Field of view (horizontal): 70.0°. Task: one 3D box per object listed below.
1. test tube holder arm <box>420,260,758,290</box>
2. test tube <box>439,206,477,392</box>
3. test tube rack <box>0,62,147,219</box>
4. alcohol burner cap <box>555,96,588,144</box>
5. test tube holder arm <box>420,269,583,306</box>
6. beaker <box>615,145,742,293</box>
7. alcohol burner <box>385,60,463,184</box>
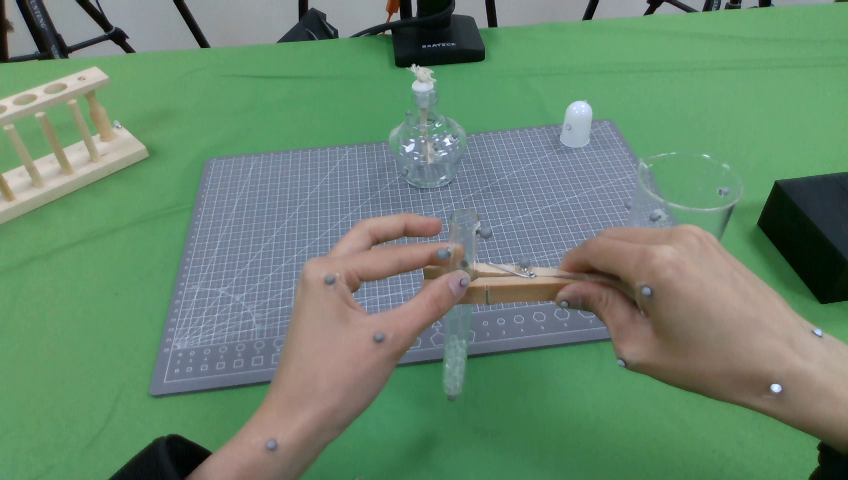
[{"bbox_3d":[0.087,0.019,0.331,0.178,0.015,0.013,0,53,6],"label":"test tube holder arm"},{"bbox_3d":[0.018,0.042,0.353,0.017,0.151,0.017,1,42,0],"label":"test tube"},{"bbox_3d":[-0.413,-0.082,0.589,0.242,0.086,0.066,-35,52,-29],"label":"test tube rack"},{"bbox_3d":[0.158,-0.130,0.644,0.034,0.048,0.033,-1,44,1],"label":"alcohol burner cap"},{"bbox_3d":[0.042,0.025,0.332,0.088,0.015,0.010,-6,52,2],"label":"test tube holder arm"},{"bbox_3d":[0.193,-0.015,0.481,0.074,0.101,0.083,-28,48,-24],"label":"beaker"},{"bbox_3d":[-0.001,-0.115,0.583,0.078,0.120,0.077,-2,42,2],"label":"alcohol burner"}]
